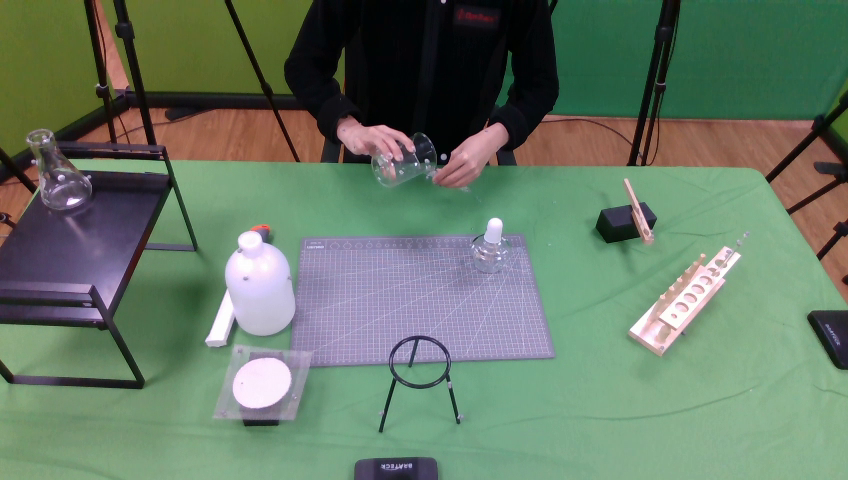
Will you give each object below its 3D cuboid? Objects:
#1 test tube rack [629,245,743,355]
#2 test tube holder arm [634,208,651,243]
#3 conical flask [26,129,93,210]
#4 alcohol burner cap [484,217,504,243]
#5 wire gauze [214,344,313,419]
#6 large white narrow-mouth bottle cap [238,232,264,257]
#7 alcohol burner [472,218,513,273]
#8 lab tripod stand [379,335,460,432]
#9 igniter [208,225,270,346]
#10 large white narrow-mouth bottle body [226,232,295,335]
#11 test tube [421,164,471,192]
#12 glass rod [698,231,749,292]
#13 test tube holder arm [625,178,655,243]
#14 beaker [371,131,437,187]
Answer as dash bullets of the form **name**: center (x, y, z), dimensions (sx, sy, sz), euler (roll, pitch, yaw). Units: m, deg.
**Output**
- **test tube rack**: center (0.474, 0.095, 1.091), dimensions (0.242, 0.085, 0.066), euler (-34, 56, -31)
- **test tube holder arm**: center (0.428, -0.030, 1.189), dimensions (0.010, 0.015, 0.087), euler (1, 47, -2)
- **conical flask**: center (-0.575, -0.113, 0.946), dimensions (0.075, 0.122, 0.075), euler (2, 46, -2)
- **alcohol burner cap**: center (0.129, -0.021, 1.107), dimensions (0.034, 0.048, 0.033), euler (4, 41, -3)
- **wire gauze**: center (-0.241, 0.213, 0.915), dimensions (0.121, 0.011, 0.124), euler (5, 46, 1)
- **large white narrow-mouth bottle cap**: center (-0.266, 0.007, 0.933), dimensions (0.038, 0.024, 0.037), euler (2, 46, -2)
- **alcohol burner**: center (0.128, 0.005, 1.132), dimensions (0.078, 0.120, 0.077), euler (0, 47, 0)
- **lab tripod stand**: center (-0.011, 0.214, 0.911), dimensions (0.148, 0.132, 0.147), euler (1, 45, 0)
- **igniter**: center (-0.331, 0.072, 1.099), dimensions (0.057, 0.025, 0.275), euler (-4, 45, 10)
- **large white narrow-mouth bottle body**: center (-0.270, 0.065, 0.995), dimensions (0.102, 0.195, 0.101), euler (2, 46, -2)
- **test tube**: center (0.046, -0.120, 1.190), dimensions (0.151, 0.017, 0.017), euler (18, 28, -48)
- **glass rod**: center (0.515, 0.044, 1.051), dimensions (0.008, 0.200, 0.008), euler (1, 55, -1)
- **test tube holder arm**: center (0.433, -0.062, 1.220), dimensions (0.013, 0.015, 0.177), euler (1, 47, -3)
- **beaker**: center (-0.038, -0.142, 1.088), dimensions (0.100, 0.084, 0.073), euler (-28, 54, -27)
